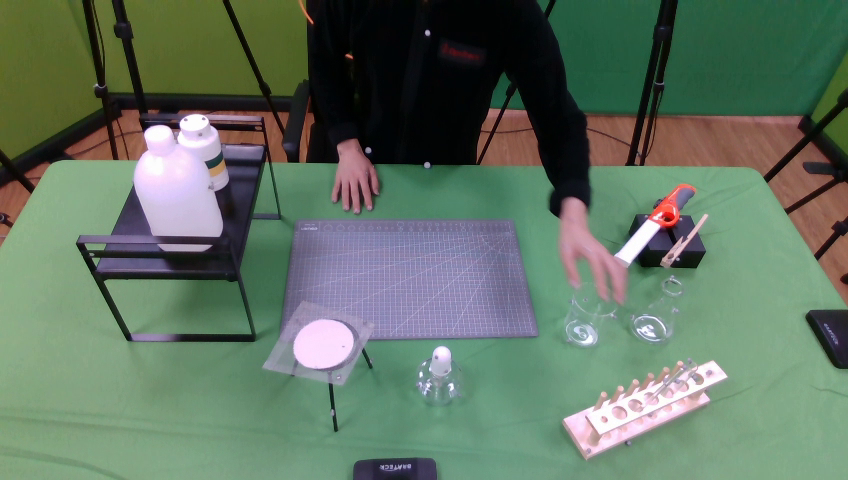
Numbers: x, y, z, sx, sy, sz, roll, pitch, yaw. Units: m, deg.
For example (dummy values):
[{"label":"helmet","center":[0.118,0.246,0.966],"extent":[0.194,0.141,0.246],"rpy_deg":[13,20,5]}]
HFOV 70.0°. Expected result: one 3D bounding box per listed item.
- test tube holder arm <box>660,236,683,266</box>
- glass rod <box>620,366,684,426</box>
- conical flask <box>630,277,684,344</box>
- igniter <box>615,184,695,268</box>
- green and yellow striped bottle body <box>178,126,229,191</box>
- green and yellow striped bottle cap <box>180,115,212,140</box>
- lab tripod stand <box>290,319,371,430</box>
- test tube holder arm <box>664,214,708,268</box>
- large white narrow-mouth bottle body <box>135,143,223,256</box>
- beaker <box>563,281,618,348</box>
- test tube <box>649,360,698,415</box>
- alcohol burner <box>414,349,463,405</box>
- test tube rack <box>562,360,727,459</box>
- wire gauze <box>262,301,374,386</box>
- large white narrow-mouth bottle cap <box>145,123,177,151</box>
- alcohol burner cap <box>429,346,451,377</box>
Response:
[{"label":"test tube holder arm","center":[0.473,0.020,1.149],"extent":[0.010,0.015,0.088],"rpy_deg":[35,54,26]},{"label":"glass rod","center":[0.323,0.227,0.866],"extent":[0.008,0.200,0.008],"rpy_deg":[5,51,-7]},{"label":"conical flask","center":[0.409,0.117,1.045],"extent":[0.075,0.122,0.075],"rpy_deg":[2,46,-2]},{"label":"igniter","center":[0.459,-0.035,1.197],"extent":[0.057,0.025,0.276],"rpy_deg":[33,55,27]},{"label":"green and yellow striped bottle body","center":[-0.361,-0.142,0.989],"extent":[0.063,0.120,0.063],"rpy_deg":[2,46,-2]},{"label":"green and yellow striped bottle cap","center":[-0.358,-0.177,0.951],"extent":[0.045,0.020,0.045],"rpy_deg":[1,44,-1]},{"label":"lab tripod stand","center":[-0.146,0.193,0.923],"extent":[0.148,0.132,0.147],"rpy_deg":[1,47,-1]},{"label":"test tube holder arm","center":[0.507,-0.001,1.170],"extent":[0.013,0.015,0.178],"rpy_deg":[35,54,25]},{"label":"large white narrow-mouth bottle body","center":[-0.358,-0.075,0.874],"extent":[0.102,0.195,0.101],"rpy_deg":[2,44,-1]},{"label":"beaker","center":[0.283,0.129,1.041],"extent":[0.074,0.101,0.083],"rpy_deg":[11,46,7]},{"label":"test tube","center":[0.365,0.222,0.897],"extent":[0.017,0.151,0.017],"rpy_deg":[4,49,-5]},{"label":"alcohol burner","center":[0.023,0.205,0.939],"extent":[0.078,0.120,0.077],"rpy_deg":[1,47,-1]},{"label":"test tube rack","center":[0.341,0.247,0.940],"extent":[0.243,0.085,0.066],"rpy_deg":[-16,49,-18]},{"label":"wire gauze","center":[-0.150,0.148,0.873],"extent":[0.121,0.011,0.124],"rpy_deg":[14,46,12]},{"label":"large white narrow-mouth bottle cap","center":[-0.354,-0.139,0.815],"extent":[0.038,0.024,0.037],"rpy_deg":[2,44,-1]},{"label":"alcohol burner cap","center":[0.026,0.180,0.912],"extent":[0.034,0.048,0.033],"rpy_deg":[1,47,-1]}]
